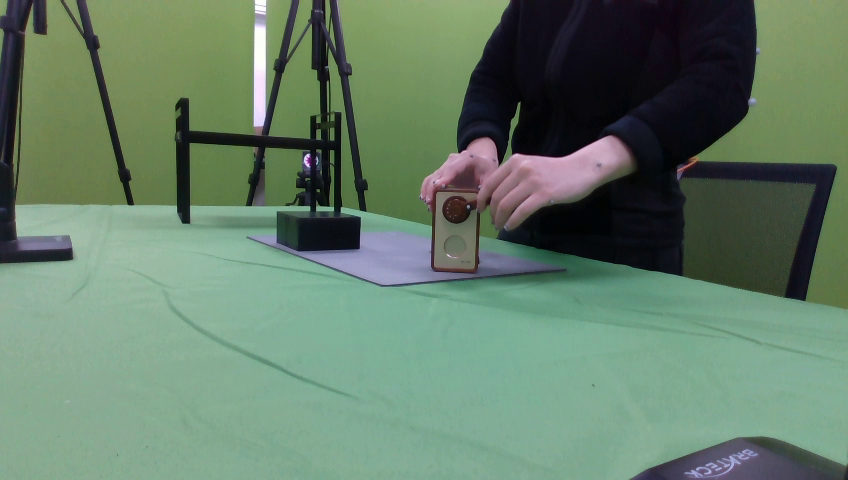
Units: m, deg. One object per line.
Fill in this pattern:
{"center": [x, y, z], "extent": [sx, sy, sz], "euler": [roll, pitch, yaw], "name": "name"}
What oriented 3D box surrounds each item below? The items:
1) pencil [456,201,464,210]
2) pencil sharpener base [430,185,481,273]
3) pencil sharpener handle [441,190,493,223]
{"center": [0.051, -0.049, 0.870], "extent": [0.012, 0.012, 0.194], "euler": [3, 5, 4], "name": "pencil"}
{"center": [0.041, -0.016, 0.783], "extent": [0.061, 0.107, 0.077], "euler": [3, 8, 4], "name": "pencil sharpener base"}
{"center": [0.052, -0.043, 0.727], "extent": [0.068, 0.036, 0.030], "euler": [-24, 5, 7], "name": "pencil sharpener handle"}
